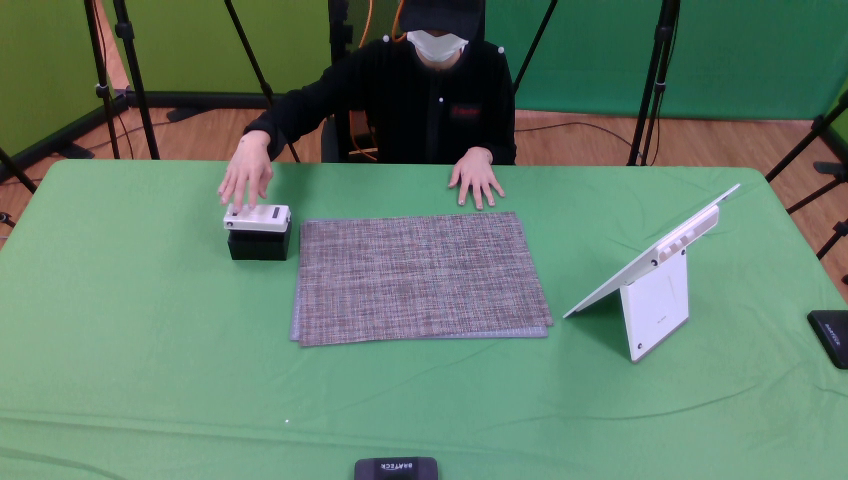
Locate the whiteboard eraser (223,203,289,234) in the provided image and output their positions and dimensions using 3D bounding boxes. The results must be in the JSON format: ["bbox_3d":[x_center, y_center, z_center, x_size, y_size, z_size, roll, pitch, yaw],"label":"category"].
[{"bbox_3d":[-0.311,-0.039,1.127,0.113,0.042,0.055,3,47,-2],"label":"whiteboard eraser"}]

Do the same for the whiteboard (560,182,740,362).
[{"bbox_3d":[0.406,0.075,1.001,0.217,0.306,0.143,-28,73,-28],"label":"whiteboard"}]
